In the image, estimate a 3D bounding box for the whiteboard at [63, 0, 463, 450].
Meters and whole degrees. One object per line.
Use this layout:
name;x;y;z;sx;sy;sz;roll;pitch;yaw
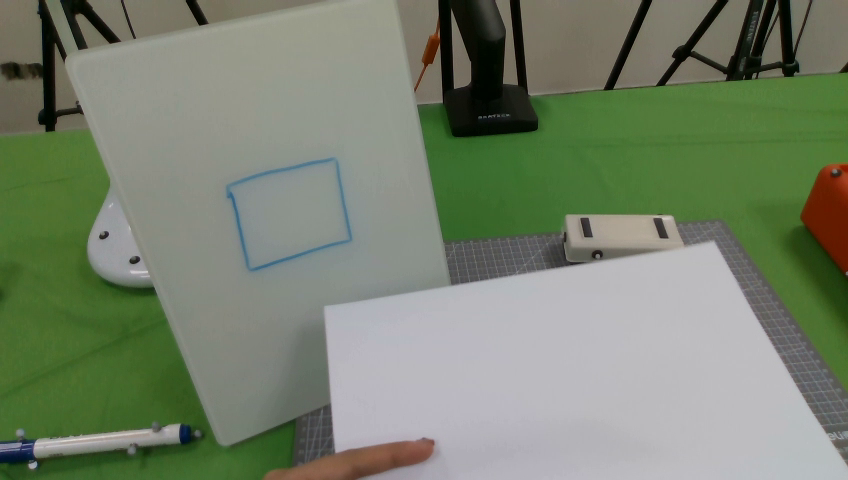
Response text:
whiteboard;-0.115;-0.026;0.507;0.217;0.307;0.142;-19;24;-17

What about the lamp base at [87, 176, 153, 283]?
lamp base;-0.296;-0.073;0.621;0.178;0.182;0.160;23;47;30

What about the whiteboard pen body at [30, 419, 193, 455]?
whiteboard pen body;-0.255;0.156;0.474;0.141;0.017;0.017;-4;40;-8

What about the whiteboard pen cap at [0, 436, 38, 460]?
whiteboard pen cap;-0.314;0.160;0.467;0.033;0.018;0.018;-2;40;-10

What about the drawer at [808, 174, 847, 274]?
drawer;0.505;0.018;0.555;0.194;0.074;0.209;-3;40;1

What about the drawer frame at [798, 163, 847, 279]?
drawer frame;0.505;0.013;0.560;0.202;0.083;0.211;-4;40;-1

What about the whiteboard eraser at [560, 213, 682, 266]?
whiteboard eraser;0.197;0.000;0.616;0.112;0.042;0.055;0;39;3
